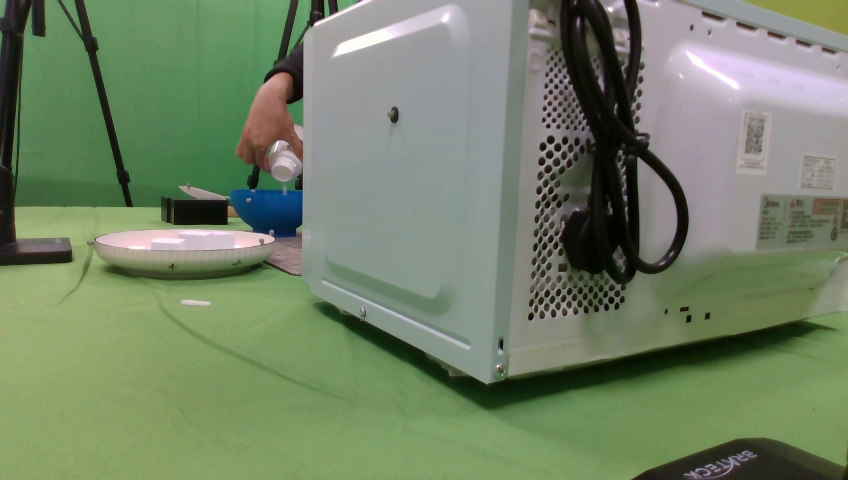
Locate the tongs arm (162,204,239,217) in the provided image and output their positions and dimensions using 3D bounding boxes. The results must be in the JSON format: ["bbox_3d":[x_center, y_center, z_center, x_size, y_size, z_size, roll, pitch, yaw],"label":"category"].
[{"bbox_3d":[-0.396,-0.065,1.399,0.389,0.028,0.028,1,6,-15],"label":"tongs arm"}]

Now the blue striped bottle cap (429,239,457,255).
[{"bbox_3d":[0.029,0.011,0.945,0.044,0.020,0.044,1,6,0],"label":"blue striped bottle cap"}]

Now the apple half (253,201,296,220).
[{"bbox_3d":[-0.264,-0.053,1.067,0.081,0.033,0.081,2,9,0],"label":"apple half"}]

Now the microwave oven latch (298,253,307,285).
[{"bbox_3d":[-0.081,0.027,0.582,0.079,0.029,0.030,-2,7,-32],"label":"microwave oven latch"}]

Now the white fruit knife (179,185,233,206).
[{"bbox_3d":[-0.413,-0.081,1.270,0.208,0.027,0.016,18,13,-41],"label":"white fruit knife"}]

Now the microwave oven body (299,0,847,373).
[{"bbox_3d":[0.151,-0.055,0.542,0.444,0.260,0.324,-2,7,-33],"label":"microwave oven body"}]

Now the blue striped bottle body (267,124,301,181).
[{"bbox_3d":[-0.258,-0.162,1.141,0.063,0.063,0.120,2,43,-2],"label":"blue striped bottle body"}]

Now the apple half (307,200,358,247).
[{"bbox_3d":[-0.135,-0.024,0.941,0.053,0.074,0.081,13,9,39],"label":"apple half"}]

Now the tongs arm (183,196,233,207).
[{"bbox_3d":[-0.404,-0.081,1.479,0.385,0.026,0.050,4,9,-2],"label":"tongs arm"}]

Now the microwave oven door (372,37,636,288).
[{"bbox_3d":[0.110,-0.080,0.686,0.358,0.243,0.039,-2,9,-33],"label":"microwave oven door"}]

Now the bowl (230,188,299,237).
[{"bbox_3d":[-0.264,-0.048,1.065,0.151,0.077,0.151,3,8,0],"label":"bowl"}]

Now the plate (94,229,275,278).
[{"bbox_3d":[-0.291,0.016,0.750,0.208,0.039,0.207,2,7,0],"label":"plate"}]
